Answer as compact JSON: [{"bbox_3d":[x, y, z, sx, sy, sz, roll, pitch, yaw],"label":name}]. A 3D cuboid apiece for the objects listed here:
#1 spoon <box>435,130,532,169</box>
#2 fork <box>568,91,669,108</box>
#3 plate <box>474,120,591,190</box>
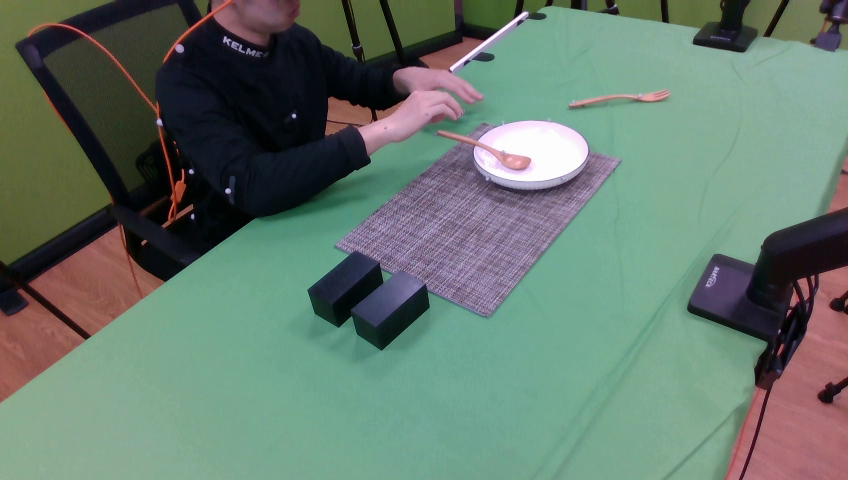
[{"bbox_3d":[0.106,-0.171,1.112,0.193,0.022,0.041,25,53,15],"label":"spoon"},{"bbox_3d":[0.402,-0.290,1.252,0.207,0.019,0.028,-4,47,1],"label":"fork"},{"bbox_3d":[0.196,-0.151,1.099,0.207,0.039,0.206,-4,40,4],"label":"plate"}]
